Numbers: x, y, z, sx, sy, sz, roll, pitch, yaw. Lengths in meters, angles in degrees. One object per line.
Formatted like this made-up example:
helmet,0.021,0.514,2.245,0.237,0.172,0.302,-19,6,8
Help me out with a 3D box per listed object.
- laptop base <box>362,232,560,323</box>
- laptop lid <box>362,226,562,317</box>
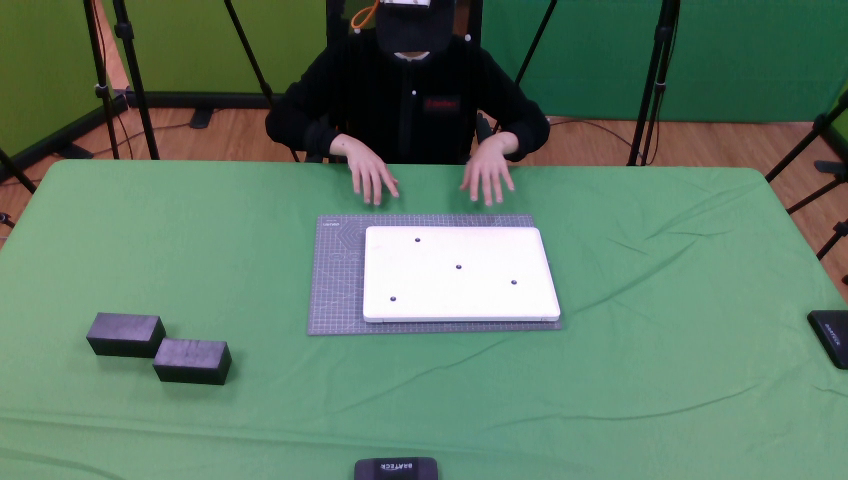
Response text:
laptop base,0.064,0.063,1.143,0.355,0.023,0.234,0,42,-4
laptop lid,0.064,0.053,1.136,0.357,0.013,0.240,1,44,-3
